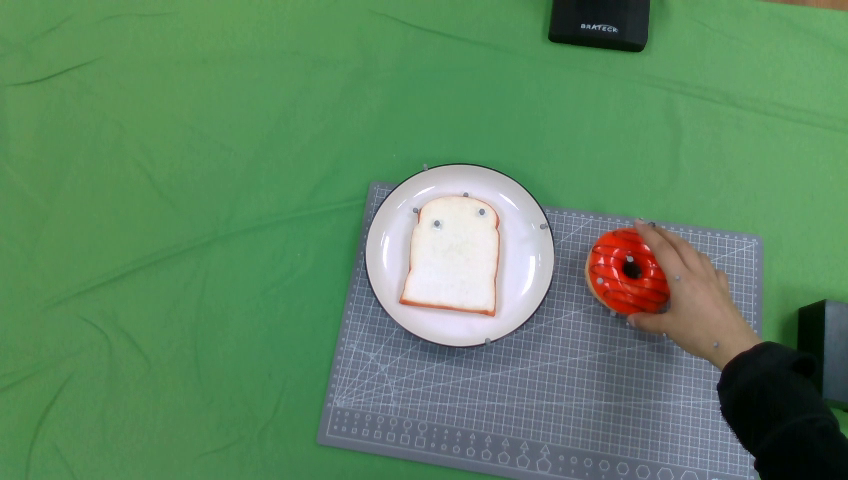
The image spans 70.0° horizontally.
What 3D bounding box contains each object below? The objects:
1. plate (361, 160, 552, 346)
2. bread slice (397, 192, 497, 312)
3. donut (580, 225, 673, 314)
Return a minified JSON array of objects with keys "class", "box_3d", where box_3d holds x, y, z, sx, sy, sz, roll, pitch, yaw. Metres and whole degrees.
[{"class":"plate","box_3d":[0.035,0.014,0.667,0.209,0.038,0.208,0,74,1]},{"class":"bread slice","box_3d":[0.029,0.010,0.671,0.105,0.019,0.131,6,75,2]},{"class":"donut","box_3d":[0.219,0.031,0.654,0.099,0.048,0.098,0,75,0]}]
